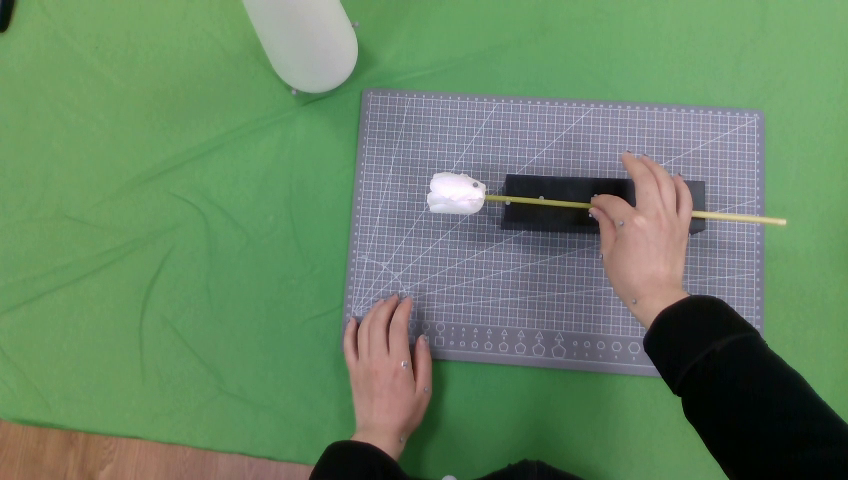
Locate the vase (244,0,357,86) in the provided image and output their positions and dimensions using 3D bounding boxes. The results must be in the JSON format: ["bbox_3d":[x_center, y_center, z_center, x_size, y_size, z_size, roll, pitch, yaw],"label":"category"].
[{"bbox_3d":[-0.126,-0.231,0.601,0.098,0.200,0.098,0,81,2],"label":"vase"}]

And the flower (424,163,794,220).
[{"bbox_3d":[0.180,-0.041,0.608,0.361,0.038,0.043,6,60,6],"label":"flower"}]
